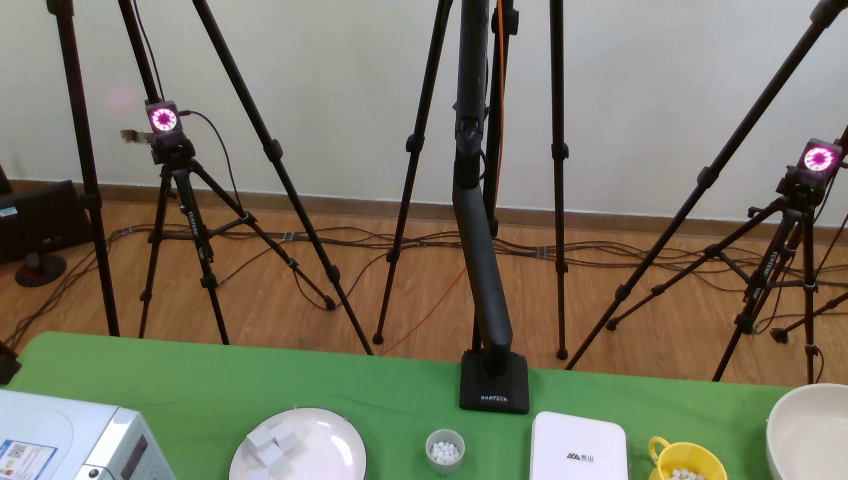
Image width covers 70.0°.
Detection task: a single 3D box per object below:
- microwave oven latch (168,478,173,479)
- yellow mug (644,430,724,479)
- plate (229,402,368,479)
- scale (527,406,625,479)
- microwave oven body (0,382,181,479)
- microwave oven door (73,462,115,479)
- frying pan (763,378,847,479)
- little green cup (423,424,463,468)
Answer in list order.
[{"bbox_3d":[-0.366,0.384,0.860,0.030,0.030,0.078,8,43,7],"label":"microwave oven latch"},{"bbox_3d":[0.384,0.347,0.924,0.100,0.064,0.129,-18,45,-20],"label":"yellow mug"},{"bbox_3d":[-0.189,0.348,0.933,0.208,0.039,0.205,1,42,0],"label":"plate"},{"bbox_3d":[0.235,0.356,0.936,0.148,0.032,0.199,7,43,8],"label":"scale"},{"bbox_3d":[-0.538,0.412,0.679,0.326,0.262,0.438,7,43,5],"label":"microwave oven body"},{"bbox_3d":[-0.400,0.451,0.631,0.039,0.246,0.353,6,42,6],"label":"microwave oven door"},{"bbox_3d":[0.699,0.401,0.841,0.307,0.103,0.482,-14,36,-15],"label":"frying pan"},{"bbox_3d":[0.030,0.328,0.959,0.061,0.039,0.061,1,41,0],"label":"little green cup"}]
